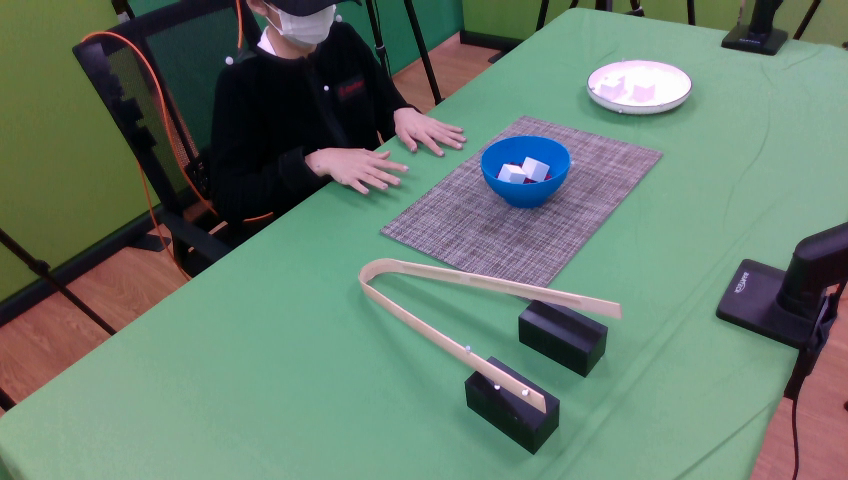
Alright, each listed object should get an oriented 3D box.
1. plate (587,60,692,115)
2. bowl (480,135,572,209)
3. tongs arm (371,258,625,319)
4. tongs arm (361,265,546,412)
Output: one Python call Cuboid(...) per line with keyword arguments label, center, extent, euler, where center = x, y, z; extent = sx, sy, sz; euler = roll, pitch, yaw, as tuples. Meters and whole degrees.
Cuboid(label="plate", center=(0.445, -0.313, 1.263), extent=(0.209, 0.038, 0.208), euler=(-5, 40, 4))
Cuboid(label="bowl", center=(0.172, -0.107, 1.024), extent=(0.151, 0.077, 0.150), euler=(-4, 40, 4))
Cuboid(label="tongs arm", center=(0.083, 0.063, 0.829), extent=(0.384, 0.028, 0.028), euler=(8, 45, 36))
Cuboid(label="tongs arm", center=(0.023, 0.111, 0.783), extent=(0.051, 0.027, 0.381), euler=(-37, 36, -25))
